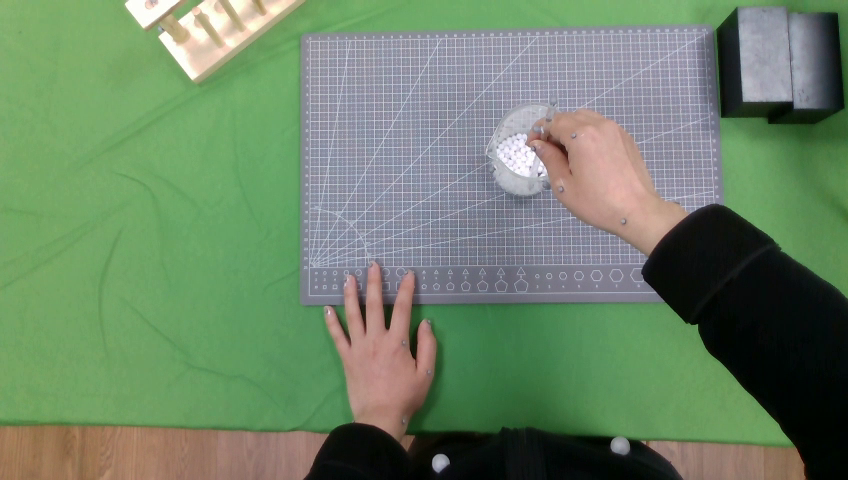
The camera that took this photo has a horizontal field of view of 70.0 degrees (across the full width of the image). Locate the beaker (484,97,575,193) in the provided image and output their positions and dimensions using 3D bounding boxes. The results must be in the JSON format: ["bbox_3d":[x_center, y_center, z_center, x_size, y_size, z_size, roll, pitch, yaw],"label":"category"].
[{"bbox_3d":[0.099,-0.088,0.602,0.084,0.100,0.074,-12,84,1],"label":"beaker"}]

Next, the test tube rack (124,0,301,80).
[{"bbox_3d":[-0.180,-0.281,0.636,0.242,0.085,0.066,-38,84,-2],"label":"test tube rack"}]

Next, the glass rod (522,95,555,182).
[{"bbox_3d":[0.101,-0.086,0.549,0.008,0.200,0.008,-1,78,3],"label":"glass rod"}]
